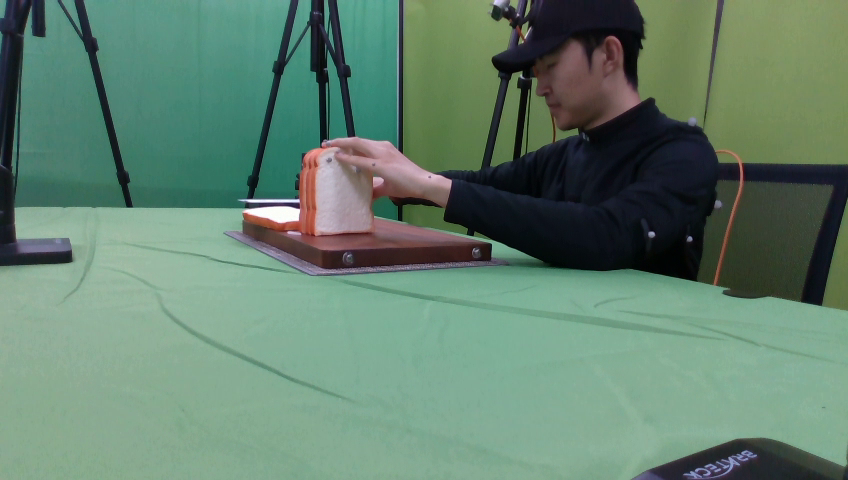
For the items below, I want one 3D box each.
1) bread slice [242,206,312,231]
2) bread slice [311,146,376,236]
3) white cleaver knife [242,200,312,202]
[{"bbox_3d":[-0.233,-0.037,1.000,0.131,0.019,0.105,13,15,40],"label":"bread slice"},{"bbox_3d":[-0.125,-0.073,0.908,0.107,0.134,0.018,-9,8,-38],"label":"bread slice"},{"bbox_3d":[-0.256,-0.086,1.295,0.288,0.021,0.065,-2,9,-41],"label":"white cleaver knife"}]
